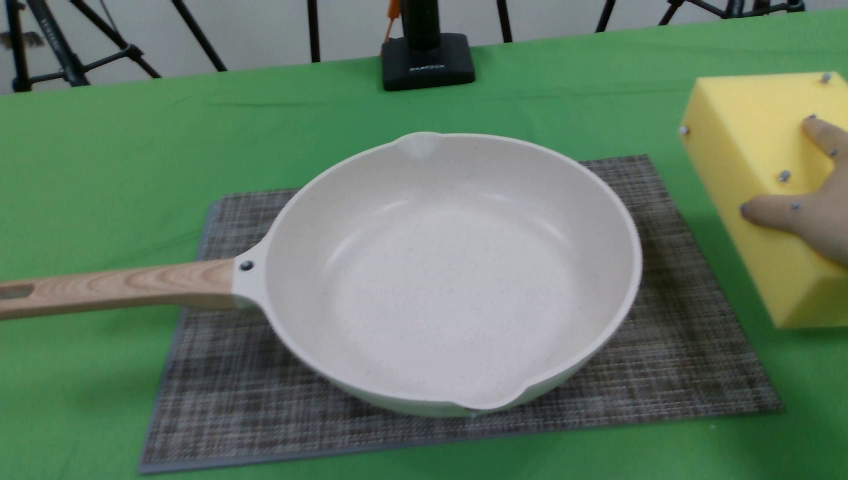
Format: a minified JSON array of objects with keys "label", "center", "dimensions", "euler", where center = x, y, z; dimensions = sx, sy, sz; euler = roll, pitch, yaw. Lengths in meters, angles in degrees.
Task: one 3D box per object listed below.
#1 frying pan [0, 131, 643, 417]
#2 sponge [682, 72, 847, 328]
[{"label":"frying pan","center":[-0.082,0.025,0.476],"dimensions":[0.489,0.103,0.303],"euler":[-3,42,-8]},{"label":"sponge","center":[0.289,-0.039,0.447],"dimensions":[0.118,0.061,0.204],"euler":[-4,49,-1]}]
